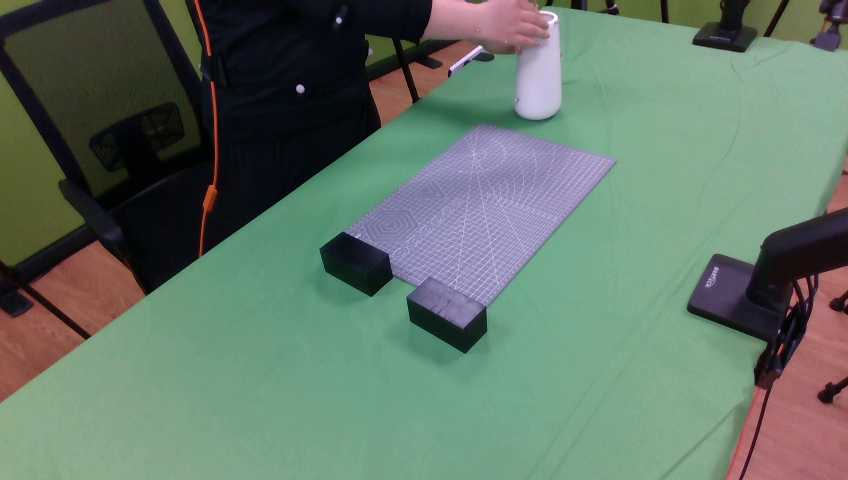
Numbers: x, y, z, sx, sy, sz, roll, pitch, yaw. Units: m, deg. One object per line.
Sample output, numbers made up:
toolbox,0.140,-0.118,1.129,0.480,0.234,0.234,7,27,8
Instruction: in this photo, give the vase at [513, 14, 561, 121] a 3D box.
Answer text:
vase,0.225,-0.337,1.197,0.098,0.201,0.097,-5,42,5

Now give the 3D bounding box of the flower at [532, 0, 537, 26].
flower,0.210,-0.392,1.129,0.038,0.364,0.044,-7,61,11
